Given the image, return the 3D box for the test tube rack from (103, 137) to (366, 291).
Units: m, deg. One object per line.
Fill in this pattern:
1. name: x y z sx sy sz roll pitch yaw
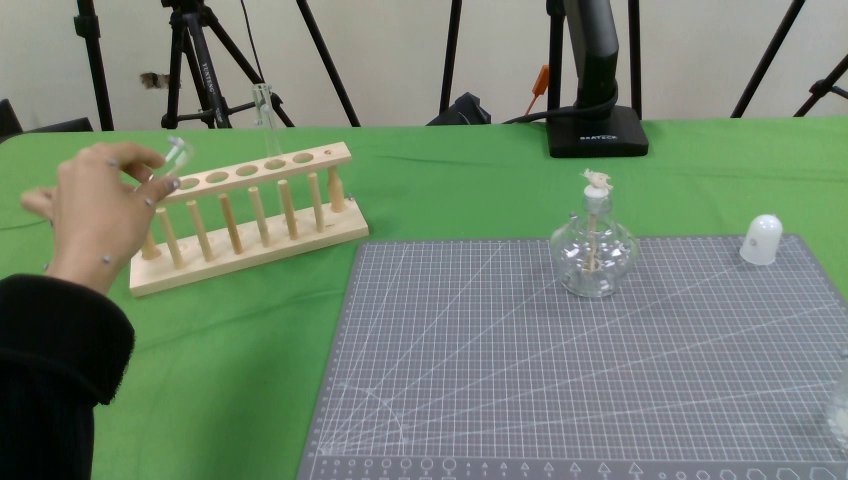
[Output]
1. test tube rack: -0.189 -0.030 0.630 0.243 0.086 0.066 -15 39 -14

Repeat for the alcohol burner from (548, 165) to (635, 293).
1. alcohol burner: 0.150 -0.012 0.542 0.078 0.120 0.077 -4 36 3

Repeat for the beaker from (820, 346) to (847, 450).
1. beaker: 0.312 0.093 0.399 0.074 0.101 0.083 -19 39 -17

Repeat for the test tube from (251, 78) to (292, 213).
1. test tube: -0.156 -0.092 0.625 0.017 0.151 0.017 -2 35 2

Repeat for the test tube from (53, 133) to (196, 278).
1. test tube: -0.239 -0.027 0.483 0.150 0.017 0.017 -48 48 -4

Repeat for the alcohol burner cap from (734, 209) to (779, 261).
1. alcohol burner cap: 0.318 -0.007 0.577 0.034 0.048 0.033 -3 38 3
